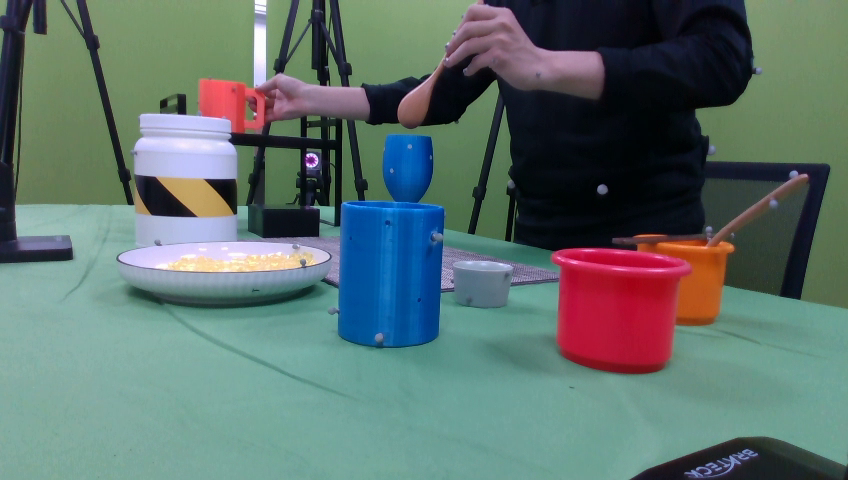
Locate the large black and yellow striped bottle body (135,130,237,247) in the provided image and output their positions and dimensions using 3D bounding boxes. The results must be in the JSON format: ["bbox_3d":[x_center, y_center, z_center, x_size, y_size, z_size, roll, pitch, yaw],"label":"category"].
[{"bbox_3d":[-0.327,-0.074,0.838,0.131,0.184,0.130,2,7,0],"label":"large black and yellow striped bottle body"}]

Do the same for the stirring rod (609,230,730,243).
[{"bbox_3d":[0.241,-0.004,0.582,0.177,0.006,0.014,-4,10,-33],"label":"stirring rod"}]

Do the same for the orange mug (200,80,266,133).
[{"bbox_3d":[-0.377,-0.262,1.192,0.126,0.101,0.083,-2,12,-9],"label":"orange mug"}]

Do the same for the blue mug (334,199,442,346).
[{"bbox_3d":[-0.034,0.020,0.498,0.083,0.106,0.116,0,7,-19],"label":"blue mug"}]

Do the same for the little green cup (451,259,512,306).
[{"bbox_3d":[0.057,0.043,0.611,0.061,0.038,0.061,3,8,0],"label":"little green cup"}]

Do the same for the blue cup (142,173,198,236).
[{"bbox_3d":[-0.425,-0.059,1.014,0.093,0.100,0.092,4,8,0],"label":"blue cup"}]

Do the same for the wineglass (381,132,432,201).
[{"bbox_3d":[-0.026,-0.062,0.841,0.074,0.172,0.073,2,7,0],"label":"wineglass"}]

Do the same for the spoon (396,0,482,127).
[{"bbox_3d":[0.021,-0.239,0.821,0.041,0.193,0.022,36,9,12],"label":"spoon"}]

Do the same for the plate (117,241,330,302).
[{"bbox_3d":[-0.203,0.031,0.630,0.209,0.038,0.209,3,7,0],"label":"plate"}]

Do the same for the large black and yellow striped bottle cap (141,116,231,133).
[{"bbox_3d":[-0.324,-0.157,0.826,0.115,0.019,0.115,1,7,0],"label":"large black and yellow striped bottle cap"}]

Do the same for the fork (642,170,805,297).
[{"bbox_3d":[0.261,0.004,0.545,0.028,0.018,0.207,5,-37,-15],"label":"fork"}]
